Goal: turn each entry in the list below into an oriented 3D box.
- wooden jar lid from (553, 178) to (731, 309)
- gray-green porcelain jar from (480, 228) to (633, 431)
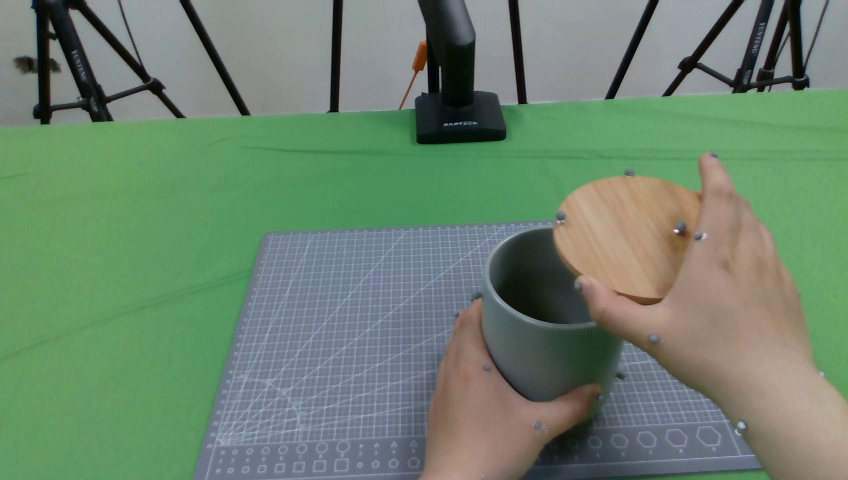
[{"bbox_3d":[0.137,0.002,0.388,0.108,0.021,0.107,-3,46,3],"label":"wooden jar lid"},{"bbox_3d":[0.095,0.072,0.455,0.106,0.127,0.105,-2,40,2],"label":"gray-green porcelain jar"}]
